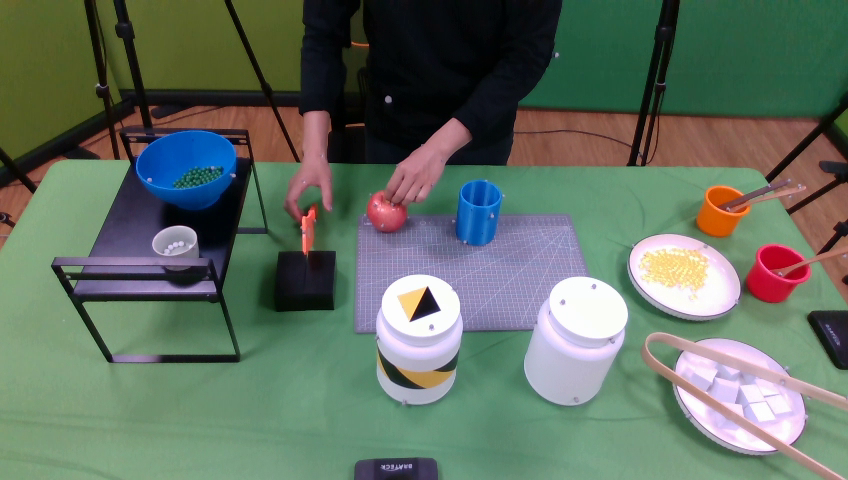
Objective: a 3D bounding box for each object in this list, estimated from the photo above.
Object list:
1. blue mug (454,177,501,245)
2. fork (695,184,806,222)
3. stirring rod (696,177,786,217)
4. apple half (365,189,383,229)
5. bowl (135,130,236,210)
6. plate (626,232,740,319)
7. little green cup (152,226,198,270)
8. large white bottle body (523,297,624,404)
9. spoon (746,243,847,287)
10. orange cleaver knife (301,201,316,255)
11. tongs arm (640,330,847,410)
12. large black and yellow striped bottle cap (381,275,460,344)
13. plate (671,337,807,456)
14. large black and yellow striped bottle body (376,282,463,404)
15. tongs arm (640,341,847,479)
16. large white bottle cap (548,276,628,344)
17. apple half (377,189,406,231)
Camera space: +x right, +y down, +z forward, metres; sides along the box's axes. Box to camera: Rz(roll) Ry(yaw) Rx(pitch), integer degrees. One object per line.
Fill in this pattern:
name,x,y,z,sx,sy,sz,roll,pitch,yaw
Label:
blue mug,0.106,-0.067,1.208,0.082,0.106,0.116,5,46,1
fork,0.658,-0.074,1.230,0.207,0.019,0.028,-24,33,36
stirring rod,0.648,-0.087,1.244,0.176,0.006,0.014,-25,51,29
apple half,-0.102,-0.062,1.206,0.033,0.081,0.081,9,46,-3
bowl,-0.375,-0.102,0.978,0.151,0.077,0.150,2,46,-2
plate,0.489,0.071,1.157,0.209,0.038,0.208,3,46,-3
little green cup,-0.364,0.013,0.894,0.061,0.039,0.061,3,46,-3
large white bottle body,0.235,0.159,0.952,0.131,0.185,0.130,2,47,-2
spoon,0.702,0.043,1.126,0.194,0.022,0.041,-29,38,30
orange cleaver knife,-0.221,-0.027,1.161,0.012,0.077,0.210,-1,15,-4
tongs arm,0.543,0.225,0.969,0.384,0.026,0.050,22,52,13
large black and yellow striped bottle cap,-0.005,0.098,0.875,0.115,0.019,0.114,2,45,-2
plate,0.504,0.254,0.984,0.208,0.039,0.206,2,46,-2
large black and yellow striped bottle body,-0.010,0.155,0.937,0.131,0.185,0.130,2,47,-2
tongs arm,0.500,0.277,0.919,0.386,0.028,0.028,34,59,22
large white bottle cap,0.240,0.100,0.890,0.115,0.018,0.114,3,47,-3
apple half,-0.064,-0.057,1.207,0.053,0.075,0.080,8,42,-2
